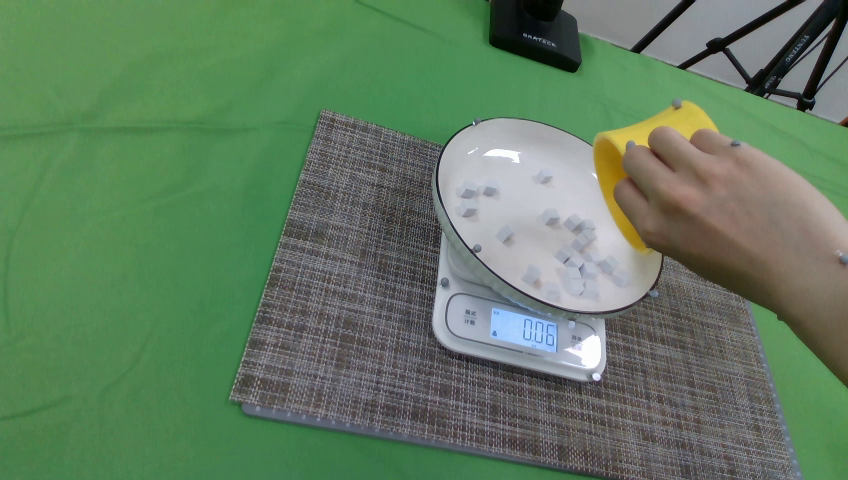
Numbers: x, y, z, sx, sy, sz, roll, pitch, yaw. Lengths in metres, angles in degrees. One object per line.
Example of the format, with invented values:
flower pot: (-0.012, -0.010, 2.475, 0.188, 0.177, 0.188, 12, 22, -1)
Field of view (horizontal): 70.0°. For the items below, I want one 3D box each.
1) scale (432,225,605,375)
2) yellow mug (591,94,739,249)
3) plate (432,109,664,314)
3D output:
scale: (0.086, 0.011, 0.526, 0.149, 0.032, 0.199, 15, 51, -10)
yellow mug: (0.176, -0.050, 0.440, 0.064, 0.131, 0.100, -23, 91, 2)
plate: (0.102, -0.025, 0.516, 0.210, 0.038, 0.207, 11, 52, -14)
